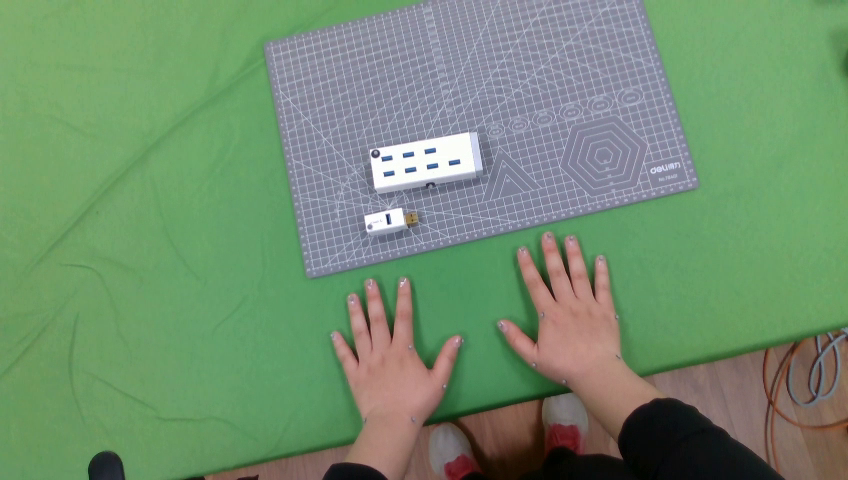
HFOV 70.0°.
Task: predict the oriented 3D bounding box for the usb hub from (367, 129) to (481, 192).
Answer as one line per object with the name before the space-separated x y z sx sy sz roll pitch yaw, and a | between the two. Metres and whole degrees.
usb hub | 0.000 -0.091 0.689 0.125 0.025 0.049 -9 79 4

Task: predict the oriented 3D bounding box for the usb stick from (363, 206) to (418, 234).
usb stick | -0.037 -0.024 0.681 0.059 0.027 0.021 -11 79 2
